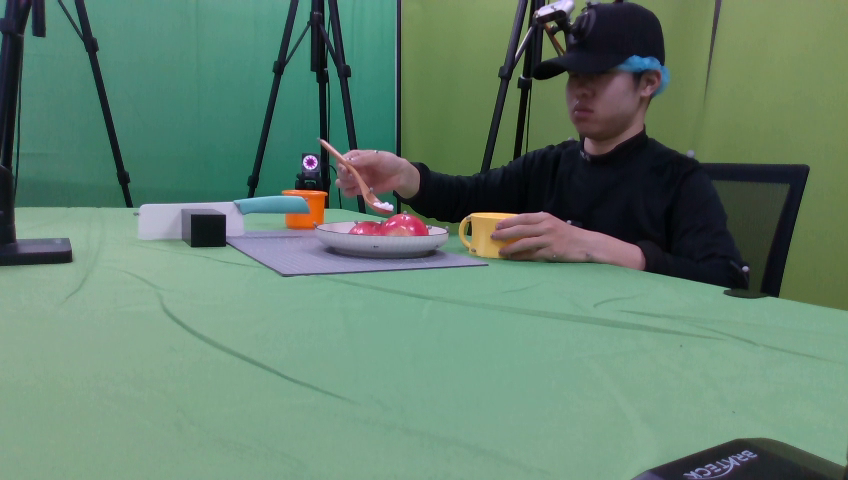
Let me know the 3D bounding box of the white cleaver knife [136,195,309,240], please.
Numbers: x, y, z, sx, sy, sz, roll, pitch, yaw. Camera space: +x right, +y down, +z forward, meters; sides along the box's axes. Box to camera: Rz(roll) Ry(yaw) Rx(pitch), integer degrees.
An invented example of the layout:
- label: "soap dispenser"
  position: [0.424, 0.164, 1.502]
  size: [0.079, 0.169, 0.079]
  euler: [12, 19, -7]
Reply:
- label: "white cleaver knife"
  position: [-0.337, -0.039, 1.037]
  size: [0.288, 0.066, 0.021]
  euler: [-6, 15, -29]

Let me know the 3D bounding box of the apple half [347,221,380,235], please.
- label: "apple half"
  position: [-0.088, -0.014, 0.985]
  size: [0.081, 0.033, 0.081]
  euler: [5, 5, 0]

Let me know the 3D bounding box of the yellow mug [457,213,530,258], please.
- label: "yellow mug"
  position: [0.109, -0.011, 0.992]
  size: [0.130, 0.064, 0.100]
  euler: [6, 7, 36]

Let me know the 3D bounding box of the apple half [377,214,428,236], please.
- label: "apple half"
  position: [-0.034, -0.013, 0.924]
  size: [0.080, 0.053, 0.075]
  euler: [5, 10, 16]

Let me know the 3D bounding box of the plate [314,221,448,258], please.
- label: "plate"
  position: [-0.067, -0.002, 0.947]
  size: [0.209, 0.038, 0.209]
  euler: [3, 7, 0]

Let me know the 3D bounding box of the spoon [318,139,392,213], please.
- label: "spoon"
  position: [-0.114, -0.106, 0.976]
  size: [0.193, 0.021, 0.042]
  euler: [51, 24, 24]
